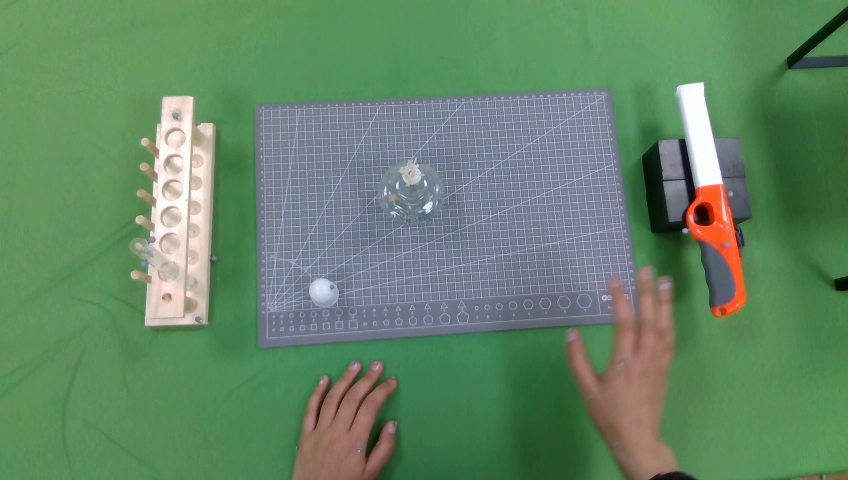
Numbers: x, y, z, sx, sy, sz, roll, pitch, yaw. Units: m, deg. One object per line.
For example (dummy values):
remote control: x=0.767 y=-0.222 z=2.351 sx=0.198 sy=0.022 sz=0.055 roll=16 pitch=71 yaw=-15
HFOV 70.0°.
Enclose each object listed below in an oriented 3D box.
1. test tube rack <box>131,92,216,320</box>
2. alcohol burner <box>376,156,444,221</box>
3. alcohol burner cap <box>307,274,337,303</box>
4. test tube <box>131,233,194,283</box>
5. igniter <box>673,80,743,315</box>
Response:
test tube rack: x=-0.283 y=-0.035 z=0.678 sx=0.067 sy=0.085 sz=0.241 roll=-1 pitch=78 yaw=-3
alcohol burner: x=-0.016 y=-0.063 z=0.681 sx=0.078 sy=0.119 sz=0.077 roll=0 pitch=79 yaw=-2
alcohol burner cap: x=-0.117 y=0.053 z=0.687 sx=0.034 sy=0.048 sz=0.033 roll=1 pitch=78 yaw=-3
test tube: x=-0.263 y=0.021 z=0.617 sx=0.017 sy=0.151 sz=0.017 roll=1 pitch=73 yaw=-4
igniter: x=0.325 y=-0.053 z=0.696 sx=0.057 sy=0.025 sz=0.275 roll=-6 pitch=78 yaw=8
